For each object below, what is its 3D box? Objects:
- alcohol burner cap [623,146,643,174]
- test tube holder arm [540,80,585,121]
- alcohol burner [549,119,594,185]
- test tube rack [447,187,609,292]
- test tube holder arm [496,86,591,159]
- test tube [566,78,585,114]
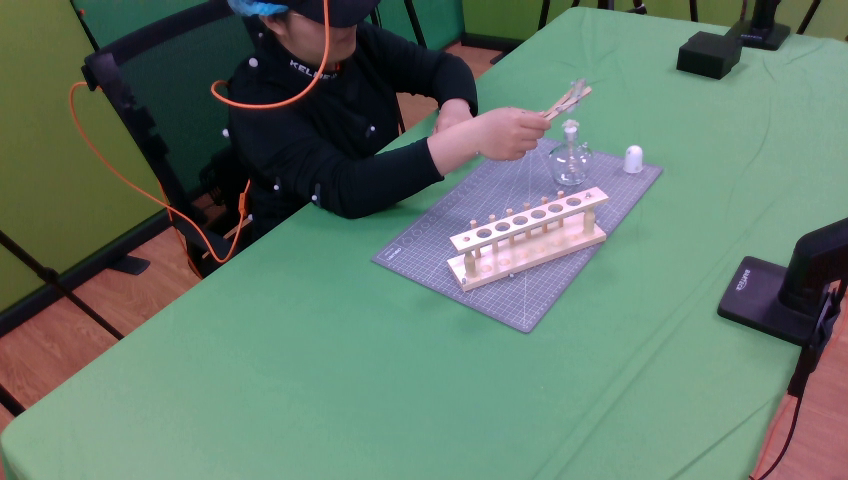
[{"bbox_3d":[0.369,-0.142,1.062,0.034,0.048,0.033,-7,41,6],"label":"alcohol burner cap"},{"bbox_3d":[0.221,-0.220,0.963,0.088,0.015,0.010,-44,77,10],"label":"test tube holder arm"},{"bbox_3d":[0.254,-0.155,1.043,0.078,0.120,0.077,-7,40,6],"label":"alcohol burner"},{"bbox_3d":[0.155,-0.011,0.913,0.243,0.085,0.066,-19,40,-11],"label":"test tube rack"},{"bbox_3d":[0.190,-0.187,0.970,0.178,0.015,0.013,-37,78,11],"label":"test tube holder arm"},{"bbox_3d":[0.243,-0.230,0.976,0.017,0.150,0.017,0,86,7],"label":"test tube"}]
